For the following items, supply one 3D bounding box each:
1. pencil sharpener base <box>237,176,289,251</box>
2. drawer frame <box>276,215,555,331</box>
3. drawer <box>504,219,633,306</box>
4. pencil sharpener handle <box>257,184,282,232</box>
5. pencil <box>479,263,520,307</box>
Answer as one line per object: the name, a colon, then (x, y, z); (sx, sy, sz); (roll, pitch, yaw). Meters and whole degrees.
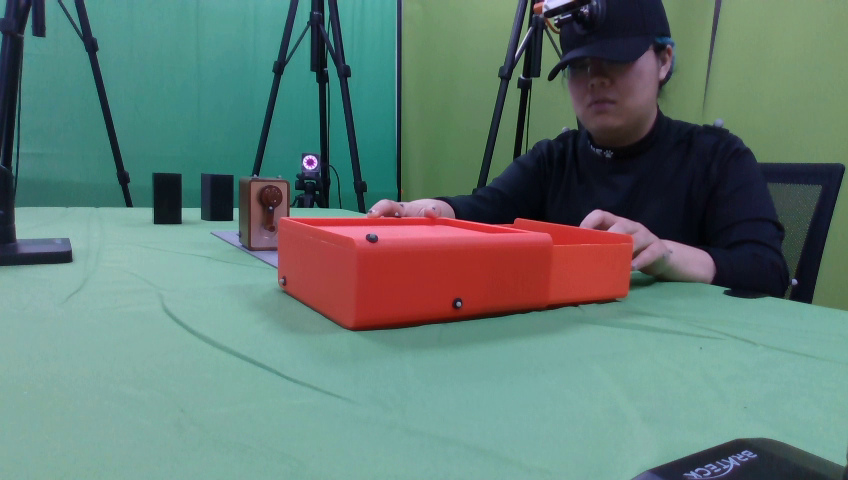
pencil sharpener base: (-0.243, -0.040, 0.911); (0.061, 0.107, 0.076); (-1, 8, -28)
drawer frame: (-0.015, 0.022, 0.610); (0.215, 0.082, 0.200); (-2, 9, -32)
drawer: (0.085, 0.021, 0.673); (0.213, 0.073, 0.193); (-2, 9, -33)
pencil sharpener handle: (-0.220, -0.046, 0.865); (0.036, 0.067, 0.030); (8, 4, -29)
pencil: (0.083, 0.048, 0.676); (0.012, 0.012, 0.193); (2, 9, -5)
